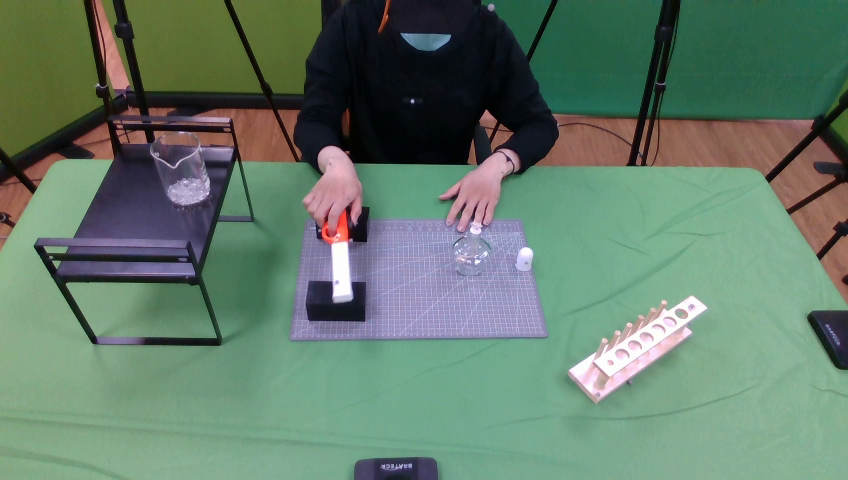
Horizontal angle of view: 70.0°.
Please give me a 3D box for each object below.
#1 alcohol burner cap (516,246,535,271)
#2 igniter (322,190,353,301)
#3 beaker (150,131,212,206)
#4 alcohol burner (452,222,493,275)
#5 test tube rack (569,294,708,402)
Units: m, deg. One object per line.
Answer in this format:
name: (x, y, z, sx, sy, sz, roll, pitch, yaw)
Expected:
alcohol burner cap: (0.195, 0.032, 1.158, 0.034, 0.048, 0.033, 2, 45, -2)
igniter: (-0.154, 0.000, 1.089, 0.057, 0.025, 0.274, -8, 45, -5)
beaker: (-0.385, -0.110, 0.969, 0.074, 0.101, 0.083, -6, 48, -9)
alcohol burner: (0.091, 0.009, 1.124, 0.078, 0.119, 0.077, 2, 48, -2)
test tube rack: (0.360, 0.167, 1.015, 0.242, 0.085, 0.066, -25, 52, -25)
